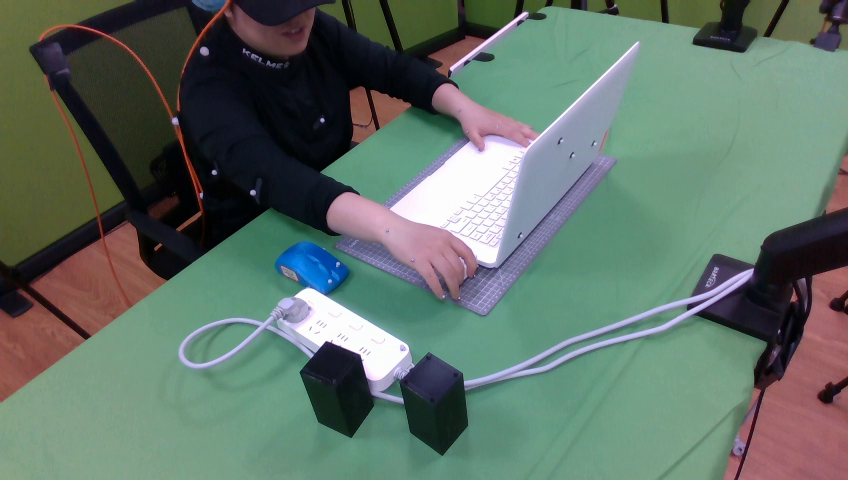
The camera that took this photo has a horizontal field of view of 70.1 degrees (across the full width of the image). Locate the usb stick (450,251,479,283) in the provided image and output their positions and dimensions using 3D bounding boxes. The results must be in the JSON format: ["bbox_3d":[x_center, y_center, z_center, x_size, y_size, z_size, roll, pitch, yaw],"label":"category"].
[{"bbox_3d":[0.065,0.036,0.900,0.021,0.027,0.059,26,47,33],"label":"usb stick"}]

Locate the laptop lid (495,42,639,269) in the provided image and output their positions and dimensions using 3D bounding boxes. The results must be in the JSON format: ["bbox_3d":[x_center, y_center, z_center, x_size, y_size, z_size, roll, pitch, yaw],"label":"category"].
[{"bbox_3d":[0.219,-0.130,0.912,0.013,0.242,0.358,31,51,21],"label":"laptop lid"}]

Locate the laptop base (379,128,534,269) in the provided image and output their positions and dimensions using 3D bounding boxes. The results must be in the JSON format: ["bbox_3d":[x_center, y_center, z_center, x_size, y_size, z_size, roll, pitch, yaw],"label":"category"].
[{"bbox_3d":[0.117,-0.087,1.059,0.233,0.023,0.355,20,47,33],"label":"laptop base"}]

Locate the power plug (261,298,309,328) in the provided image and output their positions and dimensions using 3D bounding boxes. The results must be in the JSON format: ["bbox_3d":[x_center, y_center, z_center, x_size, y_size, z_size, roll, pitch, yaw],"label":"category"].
[{"bbox_3d":[-0.192,0.107,0.831,0.073,0.053,0.035,-32,44,-25],"label":"power plug"}]

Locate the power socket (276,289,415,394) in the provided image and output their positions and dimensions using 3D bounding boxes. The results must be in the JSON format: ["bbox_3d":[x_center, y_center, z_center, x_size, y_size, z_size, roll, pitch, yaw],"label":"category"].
[{"bbox_3d":[-0.114,0.133,0.820,0.225,0.033,0.072,25,49,33],"label":"power socket"}]

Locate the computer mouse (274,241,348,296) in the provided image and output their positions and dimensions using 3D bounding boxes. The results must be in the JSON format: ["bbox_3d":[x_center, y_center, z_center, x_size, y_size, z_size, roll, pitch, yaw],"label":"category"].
[{"bbox_3d":[-0.176,0.040,0.935,0.116,0.041,0.063,27,50,27],"label":"computer mouse"}]
